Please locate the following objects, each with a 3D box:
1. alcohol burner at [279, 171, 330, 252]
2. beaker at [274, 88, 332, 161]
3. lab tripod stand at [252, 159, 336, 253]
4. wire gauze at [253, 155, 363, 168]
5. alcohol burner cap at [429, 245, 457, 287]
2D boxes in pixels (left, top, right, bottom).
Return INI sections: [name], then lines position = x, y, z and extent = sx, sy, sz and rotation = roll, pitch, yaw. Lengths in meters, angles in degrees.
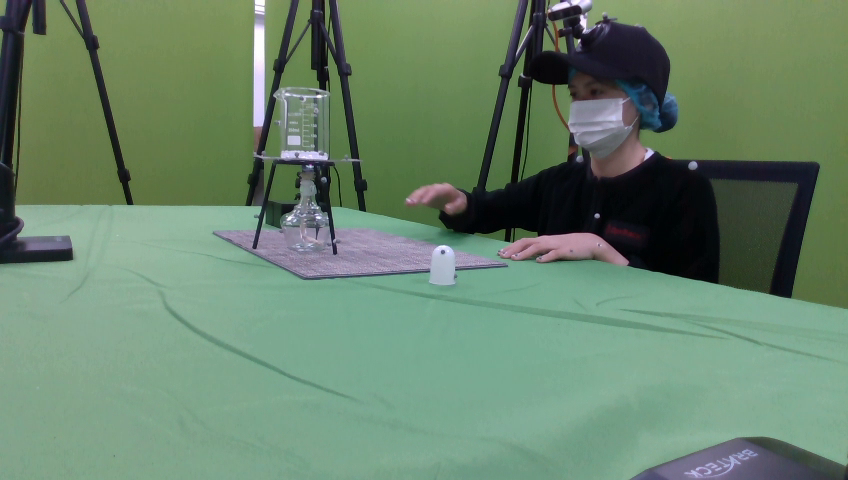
[alcohol burner]
position = -0.174, -0.043, 0.896
extent = 0.078, 0.119, 0.078
rotation = 3, 5, 0
[beaker]
position = -0.177, -0.165, 0.879
extent = 0.084, 0.100, 0.074
rotation = 2, 5, 1
[lab tripod stand]
position = -0.180, -0.053, 0.900
extent = 0.148, 0.131, 0.148
rotation = 1, 6, 0
[wire gauze]
position = -0.172, -0.117, 0.891
extent = 0.122, 0.011, 0.124
rotation = 0, 3, -38
[alcohol burner cap]
position = 0.024, 0.030, 0.705
extent = 0.034, 0.048, 0.034
rotation = 2, 7, 0
